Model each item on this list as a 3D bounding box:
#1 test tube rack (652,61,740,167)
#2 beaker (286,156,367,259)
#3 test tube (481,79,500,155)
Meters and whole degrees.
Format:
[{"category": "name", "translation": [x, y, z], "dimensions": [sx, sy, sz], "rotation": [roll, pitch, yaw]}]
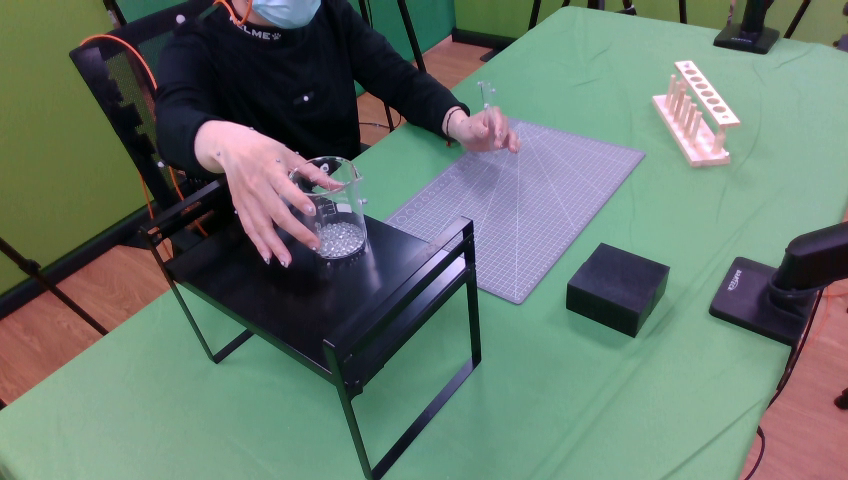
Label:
[{"category": "test tube rack", "translation": [0.499, -0.242, 1.130], "dimensions": [0.067, 0.085, 0.241], "rotation": [-5, 41, 4]}, {"category": "beaker", "translation": [-0.104, -0.035, 0.690], "dimensions": [0.084, 0.101, 0.073], "rotation": [-4, 41, 4]}, {"category": "test tube", "translation": [0.111, -0.200, 1.001], "dimensions": [0.017, 0.151, 0.017], "rotation": [-7, 48, 9]}]
